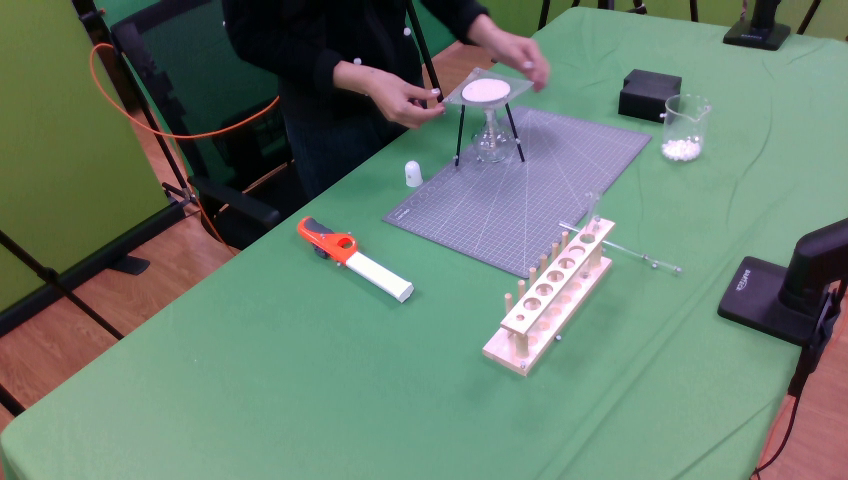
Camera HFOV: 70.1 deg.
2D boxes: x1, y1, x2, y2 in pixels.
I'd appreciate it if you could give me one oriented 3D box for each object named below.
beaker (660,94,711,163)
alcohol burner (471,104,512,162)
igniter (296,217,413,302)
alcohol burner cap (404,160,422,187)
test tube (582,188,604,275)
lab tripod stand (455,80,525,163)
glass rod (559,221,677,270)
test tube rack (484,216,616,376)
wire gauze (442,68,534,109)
[{"bbox_3d":[0.457,-0.192,1.063,0.074,0.101,0.083,-7,41,4],"label":"beaker"},{"bbox_3d":[0.125,-0.207,1.126,0.078,0.119,0.077,-5,43,5],"label":"alcohol burner"},{"bbox_3d":[-0.121,0.025,0.970,0.274,0.025,0.057,29,63,37],"label":"igniter"},{"bbox_3d":[-0.022,-0.125,1.118,0.034,0.048,0.033,-5,41,5],"label":"alcohol burner cap"},{"bbox_3d":[0.228,-0.007,0.821,0.017,0.151,0.017,-3,42,3],"label":"test tube"},{"bbox_3d":[0.120,-0.219,1.126,0.148,0.132,0.147,-4,40,4],"label":"lab tripod stand"},{"bbox_3d":[0.292,0.007,0.927,0.198,0.008,0.008,26,52,36],"label":"glass rod"},{"bbox_3d":[0.174,0.064,0.823,0.066,0.085,0.243,23,49,32],"label":"test tube rack"},{"bbox_3d":[0.114,-0.270,1.081,0.120,0.011,0.125,21,48,29],"label":"wire gauze"}]
